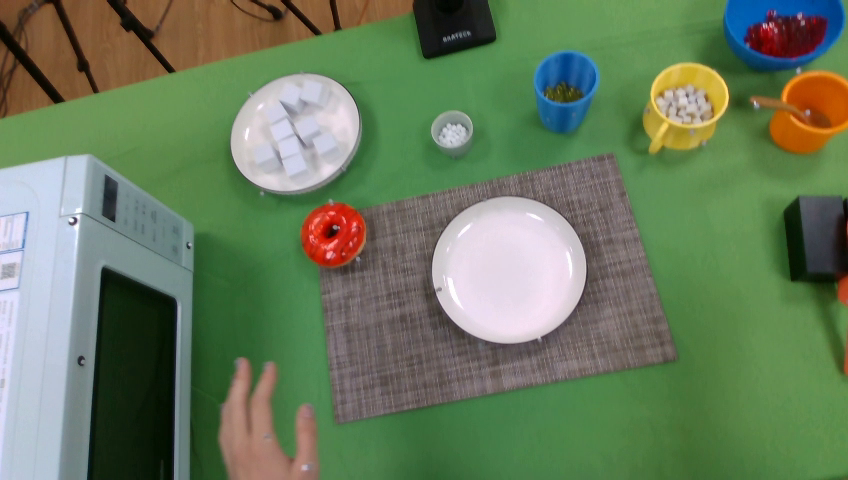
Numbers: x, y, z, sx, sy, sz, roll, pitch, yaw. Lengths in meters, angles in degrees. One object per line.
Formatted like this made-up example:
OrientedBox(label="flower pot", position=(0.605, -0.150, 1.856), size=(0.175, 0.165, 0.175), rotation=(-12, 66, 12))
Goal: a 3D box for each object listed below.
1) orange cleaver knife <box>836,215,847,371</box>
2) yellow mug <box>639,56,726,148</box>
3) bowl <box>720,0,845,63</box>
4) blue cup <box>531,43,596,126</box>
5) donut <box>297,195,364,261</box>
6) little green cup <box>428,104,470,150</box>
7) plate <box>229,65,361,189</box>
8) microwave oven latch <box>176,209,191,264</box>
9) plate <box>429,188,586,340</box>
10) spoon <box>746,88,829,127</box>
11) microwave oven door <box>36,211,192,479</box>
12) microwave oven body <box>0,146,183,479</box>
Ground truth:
OrientedBox(label="orange cleaver knife", position=(0.508, 0.048, 0.720), size=(0.012, 0.077, 0.212), rotation=(2, 102, 13))
OrientedBox(label="yellow mug", position=(0.344, -0.180, 0.831), size=(0.099, 0.064, 0.130), rotation=(36, 82, 19))
OrientedBox(label="bowl", position=(0.483, -0.302, 0.841), size=(0.151, 0.077, 0.150), rotation=(-3, 72, 9))
OrientedBox(label="blue cup", position=(0.192, -0.209, 0.849), size=(0.092, 0.101, 0.092), rotation=(-2, 73, 8))
OrientedBox(label="donut", position=(-0.135, -0.017, 0.869), size=(0.099, 0.048, 0.098), rotation=(-3, 73, 10))
OrientedBox(label="little green cup", position=(0.040, -0.164, 0.894), size=(0.061, 0.039, 0.061), rotation=(-3, 71, 9))
OrientedBox(label="plate", position=(-0.196, -0.171, 0.937), size=(0.207, 0.039, 0.206), rotation=(-3, 72, 9))
OrientedBox(label="microwave oven latch", position=(-0.361, -0.004, 0.891), size=(0.030, 0.030, 0.078), rotation=(-7, 72, 7))
OrientedBox(label="plate", position=(0.111, 0.033, 0.813), size=(0.209, 0.038, 0.208), rotation=(-3, 72, 9))
OrientedBox(label="spoon", position=(0.461, -0.172, 0.765), size=(0.021, 0.195, 0.041), rotation=(-35, 60, 46))
OrientedBox(label="microwave oven door", position=(-0.356, 0.170, 0.725), size=(0.039, 0.245, 0.353), rotation=(-10, 70, 7))
OrientedBox(label="microwave oven body", position=(-0.503, 0.155, 0.761), size=(0.326, 0.262, 0.438), rotation=(-9, 71, 6))
